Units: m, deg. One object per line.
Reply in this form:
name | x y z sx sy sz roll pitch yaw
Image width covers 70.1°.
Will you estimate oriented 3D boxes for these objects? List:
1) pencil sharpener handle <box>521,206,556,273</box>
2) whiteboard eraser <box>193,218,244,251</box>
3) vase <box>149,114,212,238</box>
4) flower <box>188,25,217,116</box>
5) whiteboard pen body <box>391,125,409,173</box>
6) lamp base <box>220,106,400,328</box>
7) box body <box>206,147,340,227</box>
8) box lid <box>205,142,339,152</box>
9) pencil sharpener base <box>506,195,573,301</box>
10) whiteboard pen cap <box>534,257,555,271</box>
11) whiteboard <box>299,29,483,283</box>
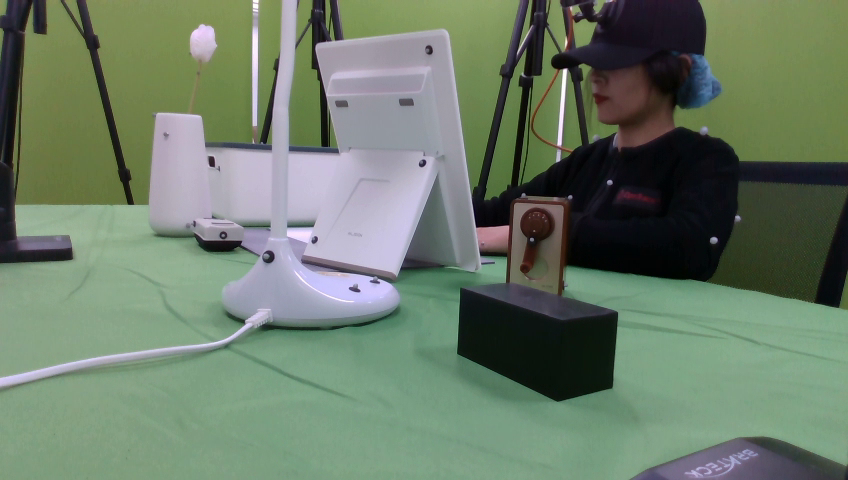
pencil sharpener handle | 0.111 0.000 0.613 0.036 0.067 0.031 13 10 14
whiteboard eraser | -0.307 -0.009 0.900 0.056 0.042 0.112 -4 11 -28
vase | -0.405 -0.106 1.005 0.098 0.200 0.098 2 6 0
flower | -0.394 -0.189 1.011 0.044 0.361 0.038 -1 -13 27
whiteboard pen body | -0.047 -0.172 1.146 0.017 0.017 0.140 4 46 9
lamp base | -0.101 -0.023 0.531 0.160 0.180 0.179 4 10 10
box body | -0.276 -0.122 1.320 0.366 0.160 0.253 -2 9 -30
box lid | -0.270 -0.196 1.311 0.373 0.015 0.262 -2 9 -30
pencil sharpener base | 0.127 0.007 0.663 0.061 0.107 0.077 5 8 15
whiteboard pen cap | 0.166 0.033 0.839 0.018 0.018 0.033 -1 6 -23
whiteboard | -0.074 -0.082 0.742 0.216 0.305 0.144 9 29 38
